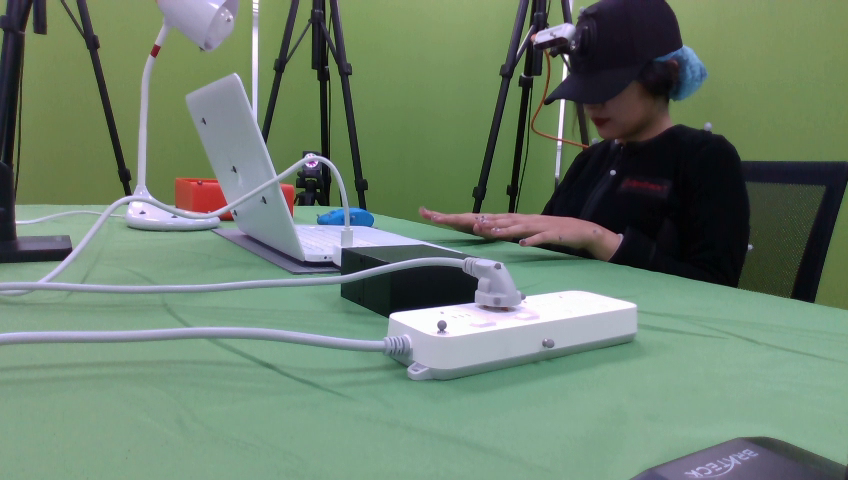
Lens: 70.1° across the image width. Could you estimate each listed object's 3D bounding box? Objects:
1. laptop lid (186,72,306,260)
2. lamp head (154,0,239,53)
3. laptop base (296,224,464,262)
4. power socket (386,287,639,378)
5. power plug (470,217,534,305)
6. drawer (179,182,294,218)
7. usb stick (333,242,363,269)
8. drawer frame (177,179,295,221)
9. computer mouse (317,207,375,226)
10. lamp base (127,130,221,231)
[{"bbox_3d":[-0.263,-0.102,0.852,0.013,0.242,0.355,-25,20,-25],"label":"laptop lid"},{"bbox_3d":[-0.406,-0.402,1.059,0.123,0.112,0.112,25,5,-6],"label":"lamp head"},{"bbox_3d":[-0.127,0.002,0.946,0.237,0.023,0.352,2,6,-30],"label":"laptop base"},{"bbox_3d":[0.074,0.064,0.461,0.228,0.032,0.072,-4,8,-34],"label":"power socket"},{"bbox_3d":[0.055,0.014,0.454,0.035,0.072,0.052,-22,-2,-40],"label":"power plug"},{"bbox_3d":[-0.420,-0.091,1.354,0.213,0.073,0.193,-3,10,-31],"label":"drawer"},{"bbox_3d":[-0.096,0.017,0.743,0.021,0.027,0.059,-4,10,-31],"label":"usb stick"},{"bbox_3d":[-0.422,-0.092,1.352,0.215,0.082,0.200,-3,10,-32],"label":"drawer frame"},{"bbox_3d":[-0.163,-0.048,1.264,0.118,0.041,0.062,-6,12,-29],"label":"computer mouse"},{"bbox_3d":[-0.469,-0.112,1.108,0.179,0.180,0.160,0,7,3],"label":"lamp base"}]
